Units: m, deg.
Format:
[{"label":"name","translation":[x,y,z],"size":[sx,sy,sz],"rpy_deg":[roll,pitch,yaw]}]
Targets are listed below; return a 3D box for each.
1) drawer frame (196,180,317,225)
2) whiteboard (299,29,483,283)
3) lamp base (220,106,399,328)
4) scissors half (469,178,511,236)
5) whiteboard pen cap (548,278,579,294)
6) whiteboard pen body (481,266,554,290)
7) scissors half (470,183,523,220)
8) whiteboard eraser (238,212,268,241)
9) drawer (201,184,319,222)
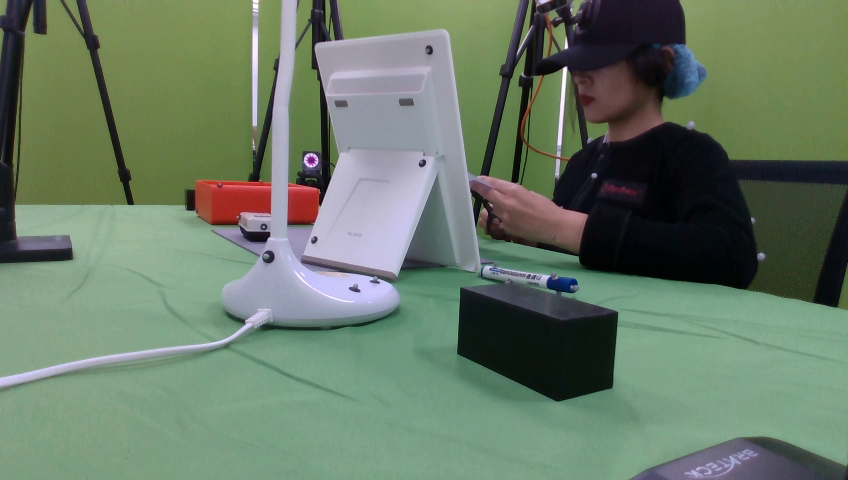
[{"label":"drawer frame","translation":[-0.359,-0.083,1.292],"size":[0.215,0.082,0.200],"rpy_deg":[-2,10,-30]},{"label":"whiteboard","translation":[-0.074,-0.082,0.742],"size":[0.216,0.305,0.144],"rpy_deg":[9,29,38]},{"label":"lamp base","translation":[-0.102,-0.023,0.531],"size":[0.160,0.180,0.179],"rpy_deg":[4,10,10]},{"label":"scissors half","translation":[0.114,-0.065,1.134],"size":[0.176,0.040,0.013],"rpy_deg":[51,-11,-36]},{"label":"whiteboard pen cap","translation":[0.148,0.049,0.647],"size":[0.018,0.018,0.033],"rpy_deg":[-3,3,-35]},{"label":"whiteboard pen body","translation":[0.115,0.044,0.695],"size":[0.017,0.017,0.140],"rpy_deg":[-3,6,-35]},{"label":"scissors half","translation":[0.127,-0.082,1.134],"size":[0.176,0.040,0.012],"rpy_deg":[24,10,-36]},{"label":"whiteboard eraser","translation":[-0.272,-0.023,0.998],"size":[0.056,0.042,0.112],"rpy_deg":[-2,9,-24]},{"label":"drawer","translation":[-0.353,-0.082,1.295],"size":[0.213,0.073,0.193],"rpy_deg":[-2,9,-28]}]
